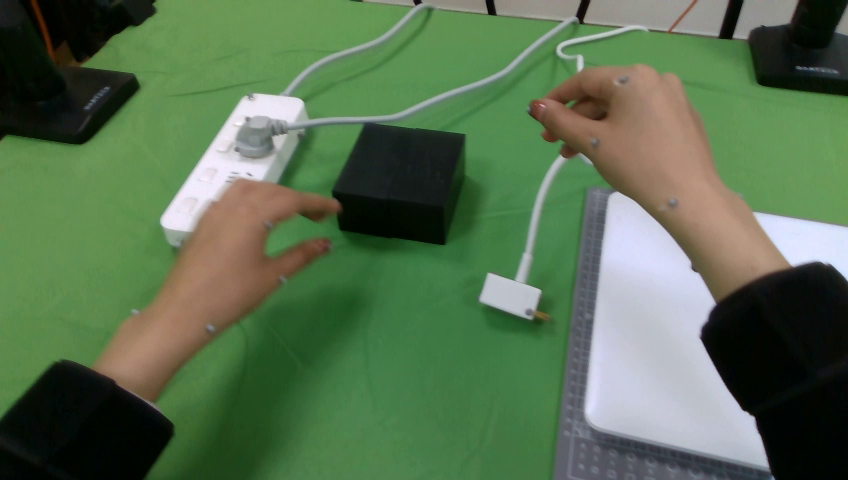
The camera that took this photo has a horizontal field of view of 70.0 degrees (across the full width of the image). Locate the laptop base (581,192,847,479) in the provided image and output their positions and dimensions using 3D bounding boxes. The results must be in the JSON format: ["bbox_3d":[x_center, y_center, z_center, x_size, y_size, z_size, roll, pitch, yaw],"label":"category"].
[{"bbox_3d":[0.308,0.077,0.461,0.353,0.023,0.234,11,53,11],"label":"laptop base"}]

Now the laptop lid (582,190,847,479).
[{"bbox_3d":[0.307,0.071,0.450,0.355,0.013,0.240,12,52,12],"label":"laptop lid"}]

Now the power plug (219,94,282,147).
[{"bbox_3d":[-0.163,-0.120,0.575,0.053,0.073,0.035,22,32,-12],"label":"power plug"}]

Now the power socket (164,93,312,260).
[{"bbox_3d":[-0.177,-0.074,0.602,0.072,0.033,0.225,9,48,8],"label":"power socket"}]

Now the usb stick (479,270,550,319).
[{"bbox_3d":[0.075,0.046,0.487,0.059,0.021,0.027,22,89,6],"label":"usb stick"}]
